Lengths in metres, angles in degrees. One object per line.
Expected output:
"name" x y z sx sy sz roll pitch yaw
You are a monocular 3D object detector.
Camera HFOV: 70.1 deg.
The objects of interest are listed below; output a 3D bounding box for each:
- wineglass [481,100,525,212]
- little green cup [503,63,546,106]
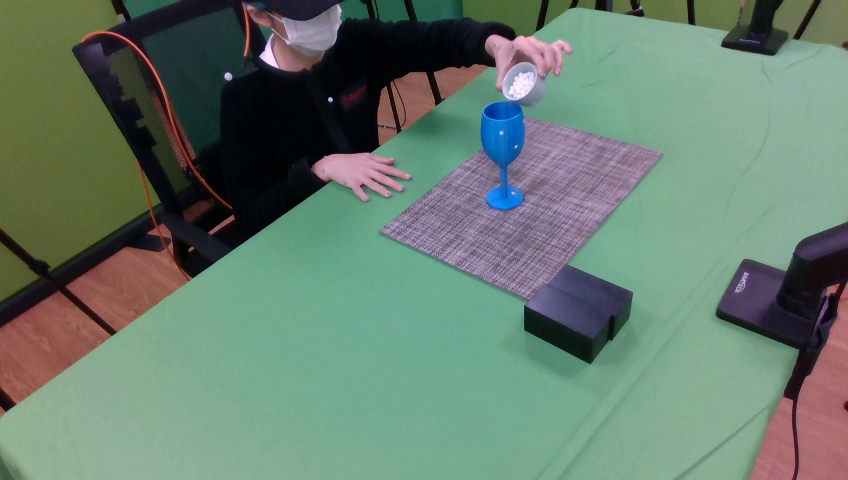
"wineglass" 0.131 -0.136 0.992 0.074 0.173 0.073 -5 40 4
"little green cup" 0.158 -0.240 0.942 0.061 0.039 0.061 -13 69 37
